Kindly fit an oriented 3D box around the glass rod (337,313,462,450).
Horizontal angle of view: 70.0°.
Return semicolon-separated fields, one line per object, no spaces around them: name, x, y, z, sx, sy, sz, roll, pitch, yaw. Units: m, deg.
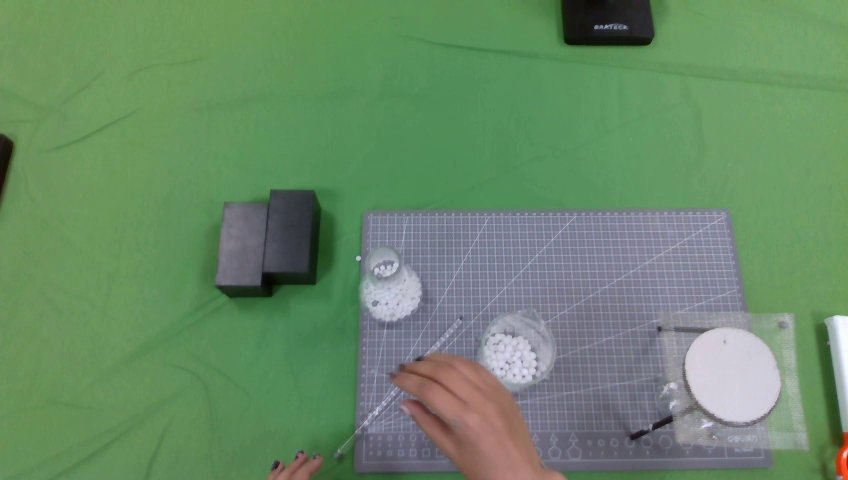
glass rod;-0.025;0.154;0.672;0.008;0.008;0.199;41;76;13

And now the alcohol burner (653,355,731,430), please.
alcohol burner;0.281;0.154;0.620;0.078;0.120;0.077;-1;71;2

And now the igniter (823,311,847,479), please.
igniter;0.465;0.213;0.649;0.057;0.025;0.275;8;71;-9

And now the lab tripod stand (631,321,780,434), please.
lab tripod stand;0.279;0.144;0.613;0.148;0.132;0.147;0;73;0

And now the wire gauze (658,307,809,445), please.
wire gauze;0.280;0.121;0.549;0.125;0.011;0.120;2;73;1

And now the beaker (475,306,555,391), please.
beaker;0.092;0.117;0.639;0.074;0.101;0.083;22;71;7

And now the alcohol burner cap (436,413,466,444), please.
alcohol burner cap;0.029;0.199;0.641;0.034;0.048;0.033;0;71;0

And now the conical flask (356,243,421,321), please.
conical flask;-0.041;0.040;0.651;0.075;0.122;0.075;0;71;0
